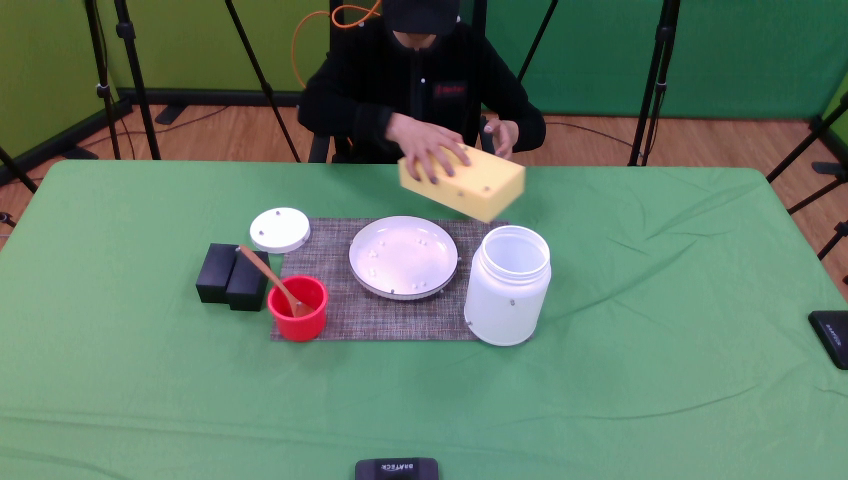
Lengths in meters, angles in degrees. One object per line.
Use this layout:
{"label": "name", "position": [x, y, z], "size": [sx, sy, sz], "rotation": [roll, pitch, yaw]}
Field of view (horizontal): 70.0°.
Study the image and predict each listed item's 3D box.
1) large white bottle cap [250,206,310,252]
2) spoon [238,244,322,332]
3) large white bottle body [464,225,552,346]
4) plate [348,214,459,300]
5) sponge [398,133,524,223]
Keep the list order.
{"label": "large white bottle cap", "position": [-0.284, -0.023, 1.198], "size": [0.115, 0.018, 0.114], "rotation": [1, 46, 0]}
{"label": "spoon", "position": [-0.241, 0.079, 1.015], "size": [0.194, 0.021, 0.041], "rotation": [53, 52, -15]}
{"label": "large white bottle body", "position": [0.141, 0.076, 1.017], "size": [0.131, 0.185, 0.130], "rotation": [2, 46, -2]}
{"label": "plate", "position": [-0.040, 0.034, 1.146], "size": [0.209, 0.038, 0.208], "rotation": [2, 47, -2]}
{"label": "sponge", "position": [0.068, -0.121, 1.141], "size": [0.206, 0.061, 0.118], "rotation": [26, 50, 29]}
